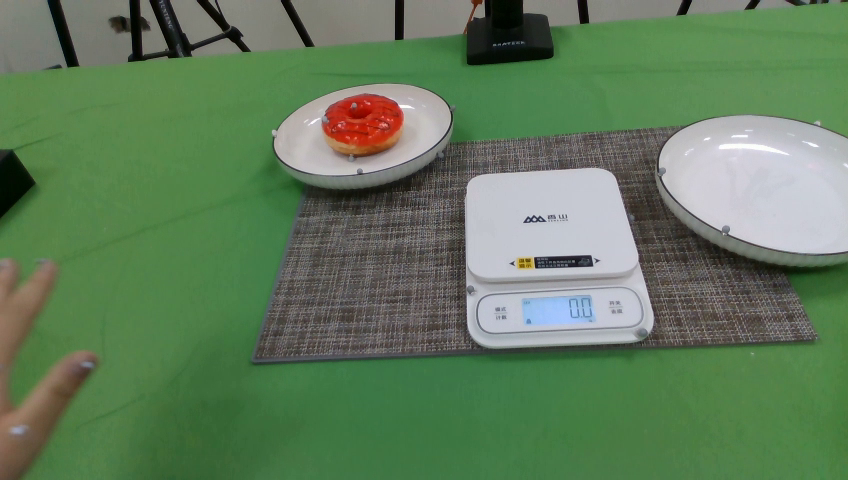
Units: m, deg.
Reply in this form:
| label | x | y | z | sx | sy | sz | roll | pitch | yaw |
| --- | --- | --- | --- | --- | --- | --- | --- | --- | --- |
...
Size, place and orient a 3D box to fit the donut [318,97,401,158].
| label | x | y | z | sx | sy | sz | roll | pitch | yaw |
| --- | --- | --- | --- | --- | --- | --- | --- | --- | --- |
| donut | -0.074 | -0.131 | 0.706 | 0.099 | 0.049 | 0.098 | -4 | 41 | 4 |

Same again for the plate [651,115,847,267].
| label | x | y | z | sx | sy | sz | roll | pitch | yaw |
| --- | --- | --- | --- | --- | --- | --- | --- | --- | --- |
| plate | 0.318 | -0.047 | 0.567 | 0.207 | 0.039 | 0.205 | -3 | 43 | 3 |

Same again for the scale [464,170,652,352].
| label | x | y | z | sx | sy | sz | roll | pitch | yaw |
| --- | --- | --- | --- | --- | --- | --- | --- | --- | --- |
| scale | 0.110 | 0.010 | 0.543 | 0.148 | 0.032 | 0.199 | -4 | 43 | 6 |

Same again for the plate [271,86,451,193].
| label | x | y | z | sx | sy | sz | roll | pitch | yaw |
| --- | --- | --- | --- | --- | --- | --- | --- | --- | --- |
| plate | -0.071 | -0.115 | 0.705 | 0.209 | 0.038 | 0.207 | -5 | 41 | 5 |
